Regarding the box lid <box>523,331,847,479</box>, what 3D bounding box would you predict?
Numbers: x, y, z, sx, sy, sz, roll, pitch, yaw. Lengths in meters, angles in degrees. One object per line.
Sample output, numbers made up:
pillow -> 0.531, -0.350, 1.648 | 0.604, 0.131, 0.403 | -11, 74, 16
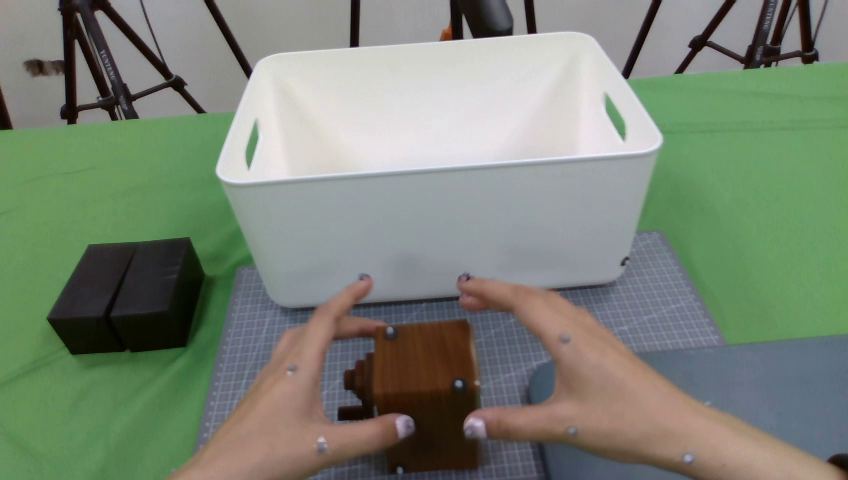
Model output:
box lid -> 0.269, 0.176, 0.425 | 0.372, 0.015, 0.260 | -5, 41, -2

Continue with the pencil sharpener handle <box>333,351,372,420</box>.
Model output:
pencil sharpener handle -> -0.054, 0.108, 0.432 | 0.030, 0.068, 0.035 | -4, 42, 1

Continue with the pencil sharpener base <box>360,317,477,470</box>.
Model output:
pencil sharpener base -> -0.002, 0.114, 0.440 | 0.077, 0.108, 0.060 | -4, 41, 1

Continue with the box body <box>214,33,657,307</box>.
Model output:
box body -> 0.010, -0.076, 0.618 | 0.364, 0.162, 0.251 | -5, 40, -1
